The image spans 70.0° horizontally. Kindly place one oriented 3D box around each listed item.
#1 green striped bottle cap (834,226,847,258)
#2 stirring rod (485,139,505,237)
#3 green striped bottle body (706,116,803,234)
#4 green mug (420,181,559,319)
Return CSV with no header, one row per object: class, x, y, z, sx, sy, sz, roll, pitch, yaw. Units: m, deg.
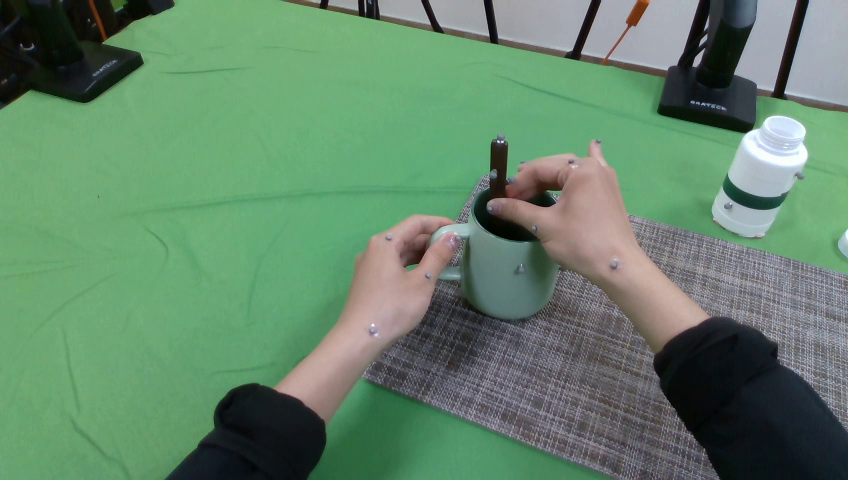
green striped bottle cap,0.453,0.005,0.629,0.044,0.020,0.044,1,42,-1
stirring rod,0.060,-0.024,0.527,0.014,0.178,0.006,9,57,12
green striped bottle body,0.343,-0.068,0.626,0.063,0.120,0.062,0,46,0
green mug,0.059,0.012,0.551,0.125,0.106,0.091,-5,46,-5
